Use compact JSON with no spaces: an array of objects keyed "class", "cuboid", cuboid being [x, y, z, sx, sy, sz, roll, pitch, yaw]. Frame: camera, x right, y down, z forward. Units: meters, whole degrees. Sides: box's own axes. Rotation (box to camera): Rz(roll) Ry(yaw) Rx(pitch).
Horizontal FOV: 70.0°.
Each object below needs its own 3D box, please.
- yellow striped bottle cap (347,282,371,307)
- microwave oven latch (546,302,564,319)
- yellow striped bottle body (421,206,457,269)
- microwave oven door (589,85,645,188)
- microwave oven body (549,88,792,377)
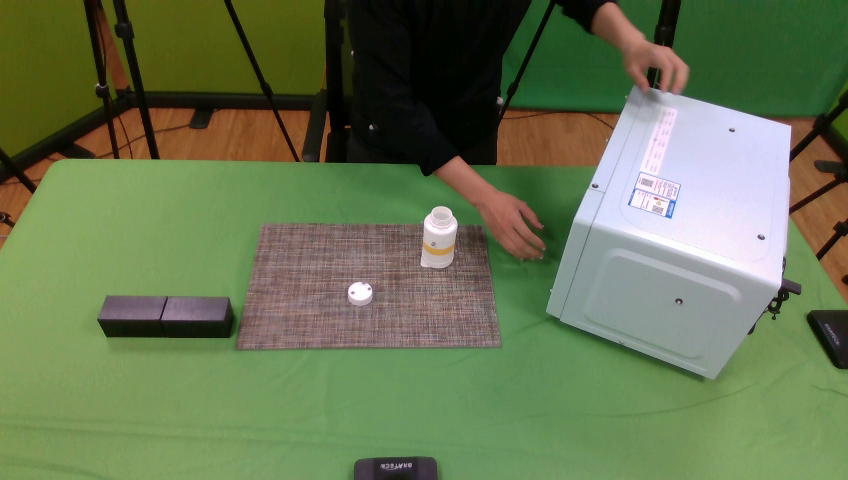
[{"class":"yellow striped bottle cap","cuboid":[-0.117,0.098,1.093,0.044,0.019,0.044,3,45,-3]},{"class":"microwave oven latch","cuboid":[0.242,0.102,1.081,0.030,0.029,0.079,21,48,17]},{"class":"yellow striped bottle body","cuboid":[0.028,-0.008,1.132,0.063,0.121,0.062,2,46,-2]},{"class":"microwave oven door","cuboid":[0.341,-0.108,1.149,0.039,0.245,0.354,20,48,15]},{"class":"microwave oven body","cuboid":[0.456,-0.028,1.088,0.325,0.261,0.440,20,47,16]}]
